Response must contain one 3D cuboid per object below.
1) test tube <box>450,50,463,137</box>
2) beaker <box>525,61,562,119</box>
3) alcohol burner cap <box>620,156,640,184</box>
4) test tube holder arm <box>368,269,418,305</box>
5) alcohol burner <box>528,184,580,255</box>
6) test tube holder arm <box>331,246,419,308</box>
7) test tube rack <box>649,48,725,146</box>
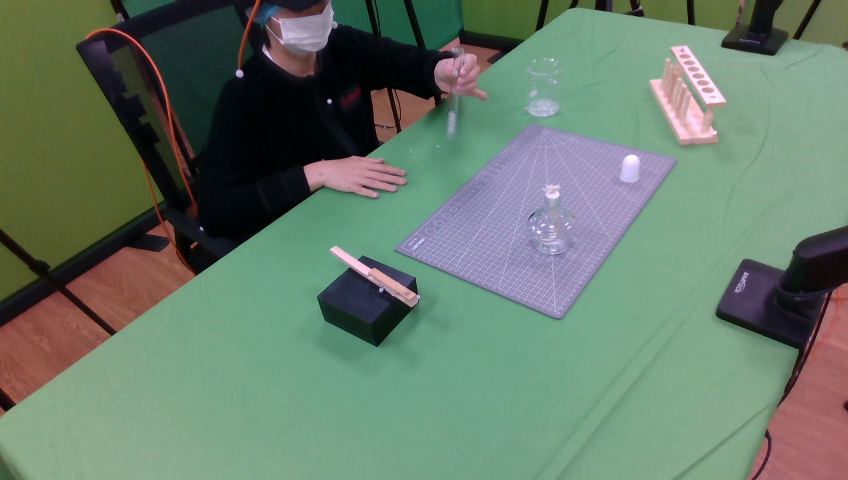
[{"bbox_3d":[0.055,-0.249,1.038,0.017,0.150,0.017,1,31,0],"label":"test tube"},{"bbox_3d":[0.248,-0.309,1.245,0.084,0.101,0.073,-36,47,-30],"label":"beaker"},{"bbox_3d":[0.358,-0.124,1.047,0.034,0.048,0.033,-4,40,4],"label":"alcohol burner cap"},{"bbox_3d":[-0.043,0.063,0.827,0.015,0.010,0.087,-36,47,-29],"label":"test tube holder arm"},{"bbox_3d":[0.196,-0.036,0.911,0.078,0.119,0.077,-6,41,5],"label":"alcohol burner"},{"bbox_3d":[-0.074,0.050,0.857,0.177,0.013,0.015,29,53,36],"label":"test tube holder arm"},{"bbox_3d":[0.508,-0.285,1.186,0.067,0.085,0.241,-4,40,6],"label":"test tube rack"}]
